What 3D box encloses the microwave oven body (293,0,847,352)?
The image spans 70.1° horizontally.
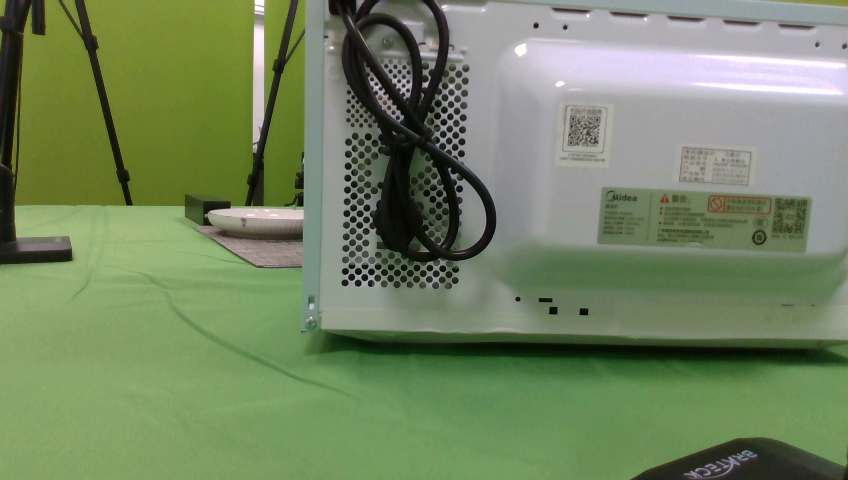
[{"bbox_3d":[0.122,-0.055,0.550,0.442,0.260,0.325,3,7,-5],"label":"microwave oven body"}]

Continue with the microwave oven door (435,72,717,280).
[{"bbox_3d":[0.180,-0.089,0.794,0.354,0.243,0.039,6,7,30],"label":"microwave oven door"}]

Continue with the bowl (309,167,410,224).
[{"bbox_3d":[-0.093,-0.065,0.900,0.151,0.077,0.151,-4,5,1],"label":"bowl"}]

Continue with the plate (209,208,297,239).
[{"bbox_3d":[-0.271,-0.029,1.074,0.208,0.039,0.207,3,7,0],"label":"plate"}]

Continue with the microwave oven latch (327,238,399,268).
[{"bbox_3d":[-0.069,0.015,0.694,0.079,0.029,0.030,3,7,-3],"label":"microwave oven latch"}]
